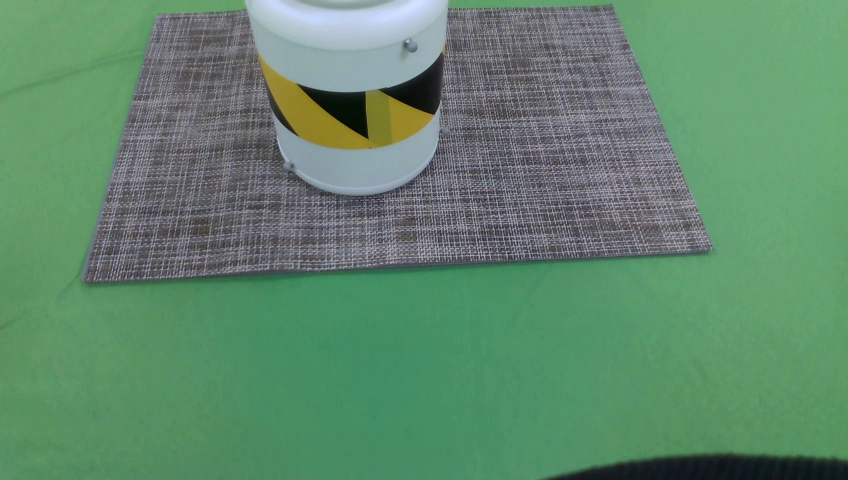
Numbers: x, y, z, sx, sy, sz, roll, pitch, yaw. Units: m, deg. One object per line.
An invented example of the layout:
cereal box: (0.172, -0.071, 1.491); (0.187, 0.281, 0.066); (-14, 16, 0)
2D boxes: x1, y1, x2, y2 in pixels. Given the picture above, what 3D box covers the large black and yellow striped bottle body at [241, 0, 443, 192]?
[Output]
large black and yellow striped bottle body: (-0.053, -0.137, 0.422); (0.131, 0.185, 0.129); (1, 55, -2)
